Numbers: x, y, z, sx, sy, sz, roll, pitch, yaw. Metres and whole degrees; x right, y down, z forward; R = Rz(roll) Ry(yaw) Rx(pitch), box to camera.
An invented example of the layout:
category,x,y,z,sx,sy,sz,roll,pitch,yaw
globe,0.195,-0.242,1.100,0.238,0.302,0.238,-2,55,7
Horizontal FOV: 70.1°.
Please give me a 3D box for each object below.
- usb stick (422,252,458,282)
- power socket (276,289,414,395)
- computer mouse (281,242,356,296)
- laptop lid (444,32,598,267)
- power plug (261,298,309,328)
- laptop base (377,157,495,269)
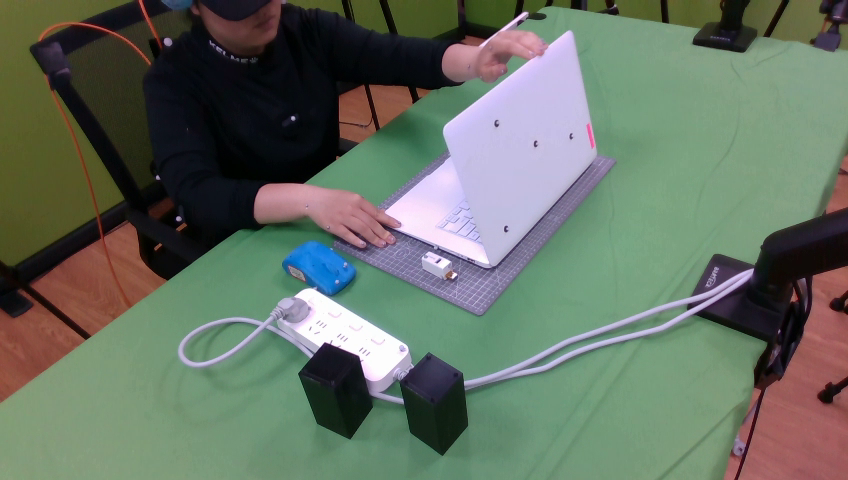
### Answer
category,x,y,z,sx,sy,sz,roll,pitch,yaw
usb stick,0.025,0.042,0.908,0.058,0.027,0.021,27,51,31
power socket,-0.115,0.133,0.820,0.225,0.033,0.072,25,49,33
computer mouse,-0.164,0.041,0.933,0.116,0.041,0.063,27,49,28
laptop lid,0.170,-0.149,0.940,0.013,0.243,0.358,7,38,43
power plug,-0.193,0.107,0.830,0.073,0.053,0.035,-32,43,-26
laptop base,0.115,-0.088,1.058,0.233,0.023,0.355,20,47,33
